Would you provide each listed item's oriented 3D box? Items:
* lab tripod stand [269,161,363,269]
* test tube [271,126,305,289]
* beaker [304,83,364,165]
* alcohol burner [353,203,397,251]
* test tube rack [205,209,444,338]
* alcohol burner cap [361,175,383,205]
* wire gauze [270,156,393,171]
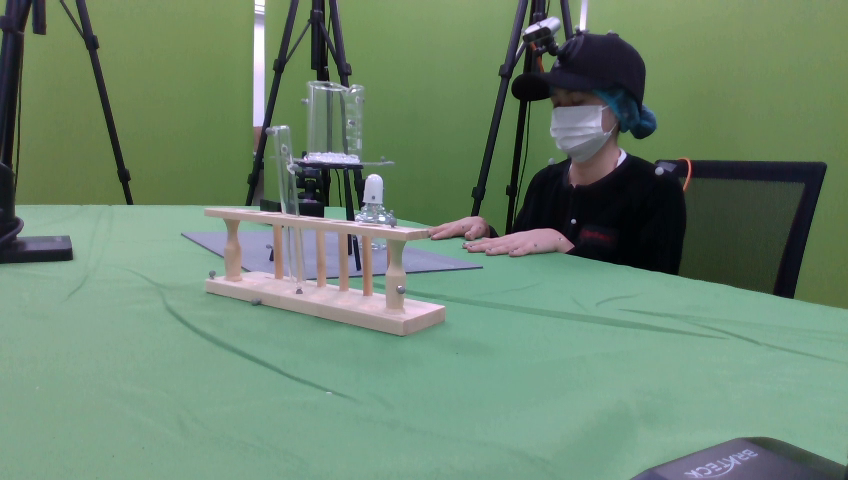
[{"bbox_3d":[-0.125,-0.036,0.794,0.148,0.131,0.148,5,7,0],"label":"lab tripod stand"},{"bbox_3d":[-0.124,-0.028,0.554,0.017,0.150,0.017,-5,7,1],"label":"test tube"},{"bbox_3d":[-0.115,-0.148,0.779,0.074,0.100,0.083,-2,10,-30],"label":"beaker"},{"bbox_3d":[-0.082,-0.043,0.950,0.078,0.119,0.078,1,8,0],"label":"alcohol burner"},{"bbox_3d":[-0.100,0.021,0.565,0.241,0.085,0.067,7,8,32],"label":"test tube rack"},{"bbox_3d":[-0.080,-0.078,0.944,0.034,0.048,0.034,5,7,0],"label":"alcohol burner cap"},{"bbox_3d":[-0.122,-0.100,0.786,0.122,0.011,0.124,-5,14,-38],"label":"wire gauze"}]
